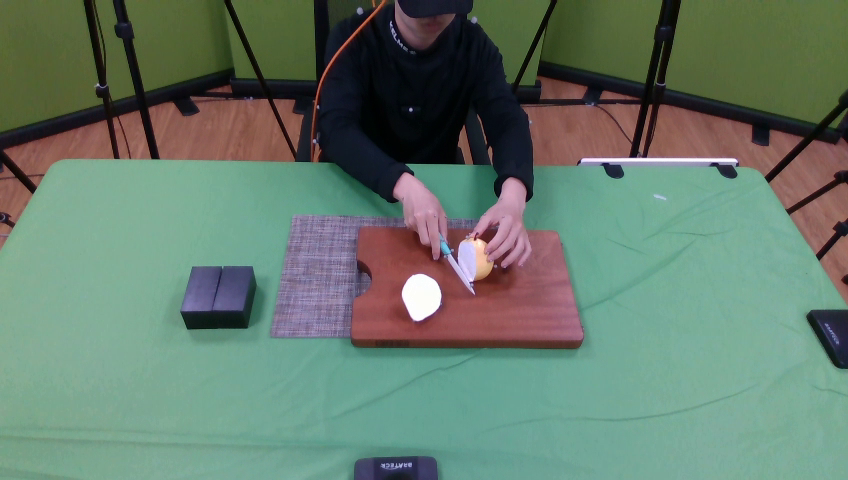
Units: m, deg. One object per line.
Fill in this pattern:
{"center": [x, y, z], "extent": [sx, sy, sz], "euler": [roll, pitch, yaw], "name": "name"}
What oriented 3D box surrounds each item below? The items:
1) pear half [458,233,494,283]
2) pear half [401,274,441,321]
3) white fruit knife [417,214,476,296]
{"center": [0.098, 0.023, 1.087], "extent": [0.056, 0.110, 0.076], "euler": [-21, 54, -20], "name": "pear half"}
{"center": [-0.009, 0.104, 1.051], "extent": [0.070, 0.031, 0.087], "euler": [20, 62, -6], "name": "pear half"}
{"center": [0.042, 0.025, 1.126], "extent": [0.016, 0.027, 0.206], "euler": [-22, 59, -21], "name": "white fruit knife"}
